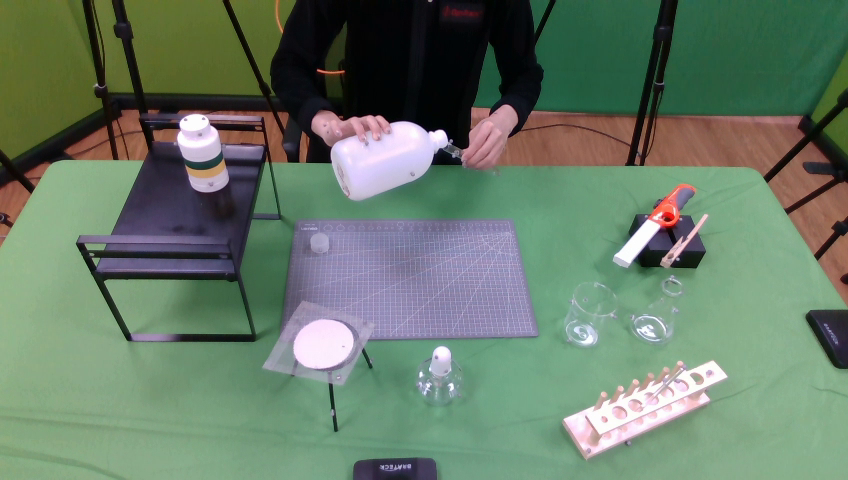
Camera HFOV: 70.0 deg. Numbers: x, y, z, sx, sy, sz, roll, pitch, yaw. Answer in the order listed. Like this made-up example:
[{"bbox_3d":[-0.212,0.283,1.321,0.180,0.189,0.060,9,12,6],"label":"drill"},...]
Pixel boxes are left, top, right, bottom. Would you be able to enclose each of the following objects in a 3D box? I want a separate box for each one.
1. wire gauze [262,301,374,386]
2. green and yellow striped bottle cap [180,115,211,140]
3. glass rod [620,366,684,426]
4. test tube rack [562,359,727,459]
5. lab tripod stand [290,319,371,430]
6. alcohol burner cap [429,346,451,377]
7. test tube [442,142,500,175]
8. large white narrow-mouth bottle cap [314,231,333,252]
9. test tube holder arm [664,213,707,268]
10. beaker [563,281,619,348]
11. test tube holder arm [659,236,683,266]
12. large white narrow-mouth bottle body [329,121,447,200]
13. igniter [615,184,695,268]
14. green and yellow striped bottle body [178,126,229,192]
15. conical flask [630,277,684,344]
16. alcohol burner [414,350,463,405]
[{"bbox_3d":[-0.150,0.148,0.873,0.121,0.011,0.124,14,46,12],"label":"wire gauze"},{"bbox_3d":[-0.358,-0.177,0.951,0.045,0.020,0.045,2,45,-2],"label":"green and yellow striped bottle cap"},{"bbox_3d":[0.323,0.227,0.866,0.008,0.200,0.008,5,51,-7],"label":"glass rod"},{"bbox_3d":[0.341,0.247,0.940,0.243,0.085,0.066,-16,49,-18],"label":"test tube rack"},{"bbox_3d":[-0.146,0.193,0.923,0.148,0.132,0.147,1,47,-1],"label":"lab tripod stand"},{"bbox_3d":[0.026,0.180,0.912,0.034,0.048,0.033,1,47,-1],"label":"alcohol burner cap"},{"bbox_3d":[0.088,-0.146,1.095,0.151,0.017,0.017,19,31,-43],"label":"test tube"},{"bbox_3d":[-0.195,0.003,1.178,0.038,0.024,0.037,2,45,-2],"label":"large white narrow-mouth bottle cap"},{"bbox_3d":[0.507,-0.001,1.171,0.013,0.015,0.178,34,54,26],"label":"test tube holder arm"},{"bbox_3d":[0.283,0.129,1.041,0.074,0.101,0.083,11,46,7],"label":"beaker"},{"bbox_3d":[0.472,0.020,1.149,0.010,0.015,0.088,35,54,27],"label":"test tube holder arm"},{"bbox_3d":[-0.051,-0.142,1.002,0.195,0.102,0.101,-22,52,-19],"label":"large white narrow-mouth bottle body"},{"bbox_3d":[0.459,-0.035,1.197,0.057,0.025,0.276,33,55,27],"label":"igniter"},{"bbox_3d":[-0.361,-0.142,0.989,0.063,0.120,0.063,2,46,-2],"label":"green and yellow striped bottle body"},{"bbox_3d":[0.409,0.117,1.045,0.075,0.122,0.075,2,46,-2],"label":"conical flask"},{"bbox_3d":[0.023,0.205,0.939,0.078,0.120,0.077,1,48,-1],"label":"alcohol burner"}]
